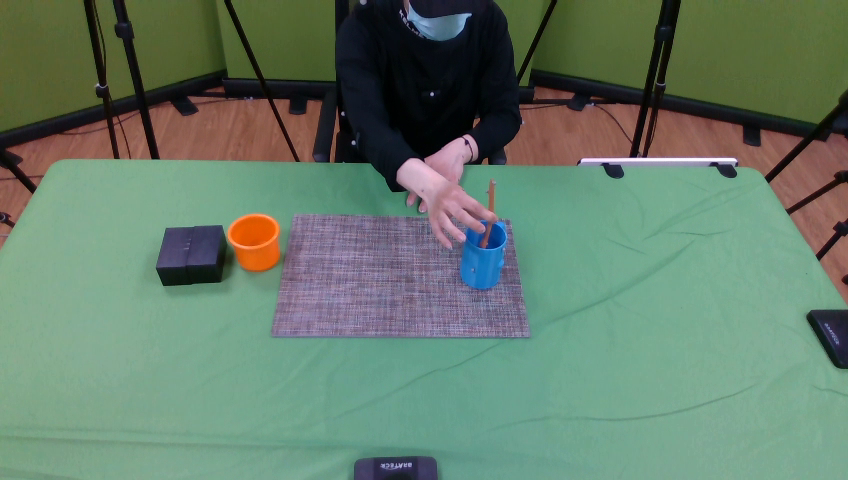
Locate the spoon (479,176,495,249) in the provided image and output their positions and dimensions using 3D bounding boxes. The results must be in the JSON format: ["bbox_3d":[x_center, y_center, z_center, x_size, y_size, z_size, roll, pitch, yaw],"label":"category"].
[{"bbox_3d":[0.111,-0.026,1.056,0.022,0.194,0.041,-1,35,-10],"label":"spoon"}]

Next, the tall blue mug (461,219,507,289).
[{"bbox_3d":[0.111,0.016,1.122,0.078,0.108,0.106,6,46,4],"label":"tall blue mug"}]
